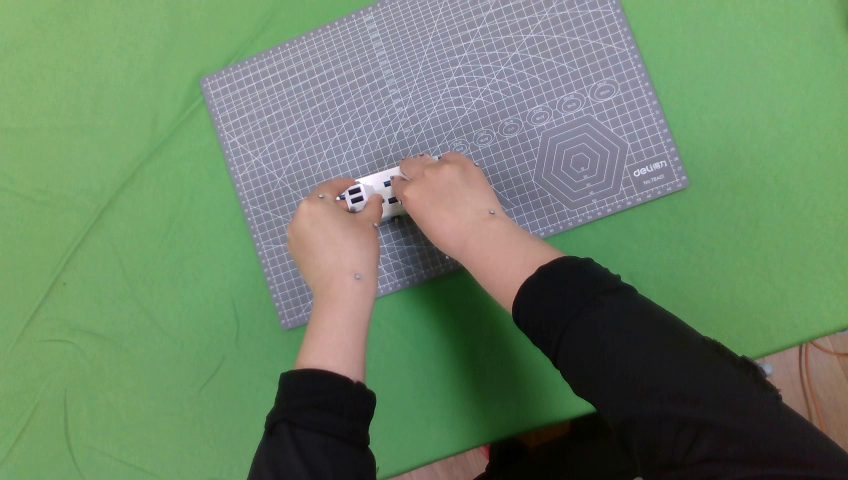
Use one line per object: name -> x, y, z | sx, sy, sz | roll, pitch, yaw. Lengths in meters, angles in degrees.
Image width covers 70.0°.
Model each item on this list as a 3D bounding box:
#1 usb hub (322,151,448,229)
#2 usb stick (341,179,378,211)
usb hub -> -0.041, -0.052, 0.635 | 0.125, 0.025, 0.049 | -16, 86, 8
usb stick -> -0.062, -0.044, 0.603 | 0.021, 0.059, 0.027 | -20, 84, 9
